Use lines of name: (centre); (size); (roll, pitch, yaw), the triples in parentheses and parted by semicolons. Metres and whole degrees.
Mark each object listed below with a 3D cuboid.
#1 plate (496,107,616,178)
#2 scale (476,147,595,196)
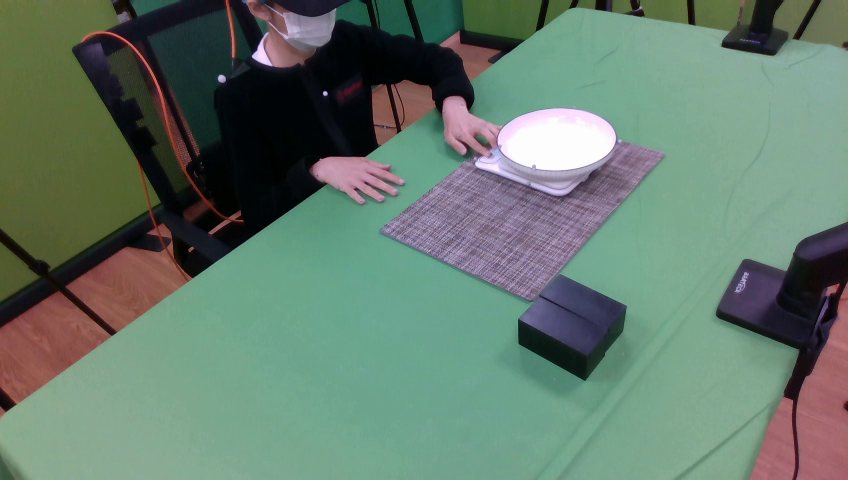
plate: (0.232, -0.169, 1.075); (0.207, 0.039, 0.206); (-5, 41, 5)
scale: (0.209, -0.148, 1.105); (0.199, 0.032, 0.149); (26, 50, 34)
